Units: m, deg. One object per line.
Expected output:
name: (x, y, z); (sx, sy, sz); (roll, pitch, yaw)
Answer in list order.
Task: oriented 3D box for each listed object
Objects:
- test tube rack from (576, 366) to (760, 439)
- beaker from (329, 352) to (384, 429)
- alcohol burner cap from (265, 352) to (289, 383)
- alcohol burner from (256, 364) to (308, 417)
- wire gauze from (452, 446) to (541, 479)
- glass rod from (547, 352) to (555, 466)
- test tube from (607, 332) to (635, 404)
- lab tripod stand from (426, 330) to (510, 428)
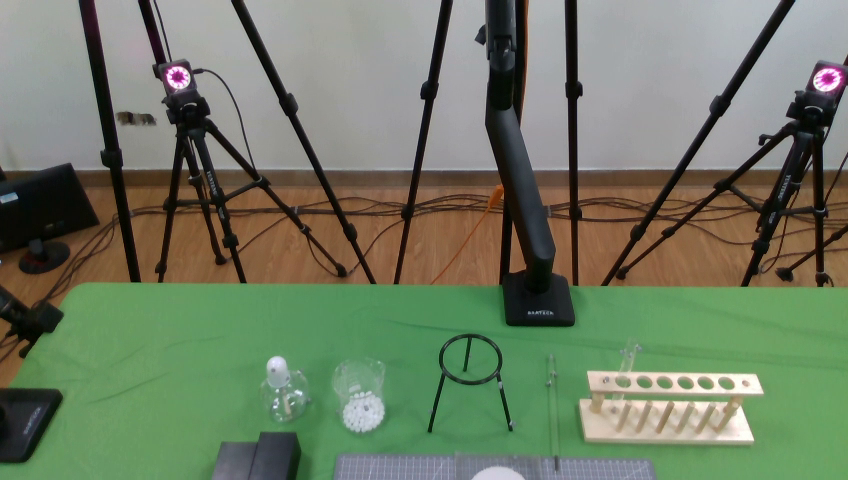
test tube rack: (0.355, 0.237, 0.886); (0.242, 0.086, 0.066); (0, 42, 2)
beaker: (-0.094, 0.225, 0.898); (0.084, 0.101, 0.073); (-27, 49, -27)
alcohol burner cap: (-0.214, 0.183, 0.881); (0.034, 0.048, 0.033); (3, 44, -2)
alcohol burner: (-0.215, 0.210, 0.905); (0.078, 0.120, 0.077); (0, 41, 0)
wire gauze: (0.100, 0.340, 0.833); (0.125, 0.011, 0.120); (1, 41, 4)
glass rod: (0.195, 0.253, 0.928); (0.008, 0.008, 0.198); (4, 44, 5)
test tube: (0.282, 0.187, 0.869); (0.017, 0.151, 0.017); (-1, 40, 1)
lab tripod stand: (0.062, 0.204, 0.893); (0.148, 0.133, 0.147); (-2, 41, 2)
